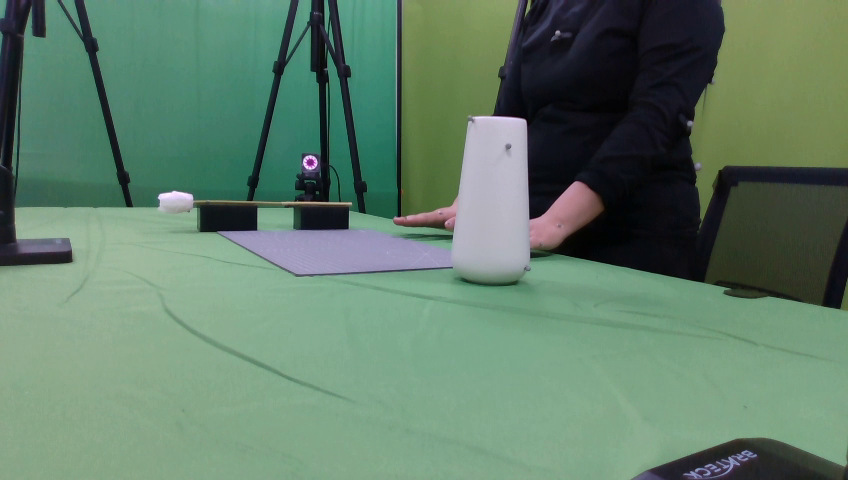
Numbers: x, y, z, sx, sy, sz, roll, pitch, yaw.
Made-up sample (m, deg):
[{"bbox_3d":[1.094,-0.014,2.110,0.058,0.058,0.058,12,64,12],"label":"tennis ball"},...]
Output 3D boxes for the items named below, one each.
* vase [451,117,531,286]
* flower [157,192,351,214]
[{"bbox_3d":[0.083,-0.047,0.737,0.098,0.200,0.098,1,6,0],"label":"vase"},{"bbox_3d":[-0.314,-0.076,1.160,0.363,0.038,0.044,-4,-20,-24],"label":"flower"}]
